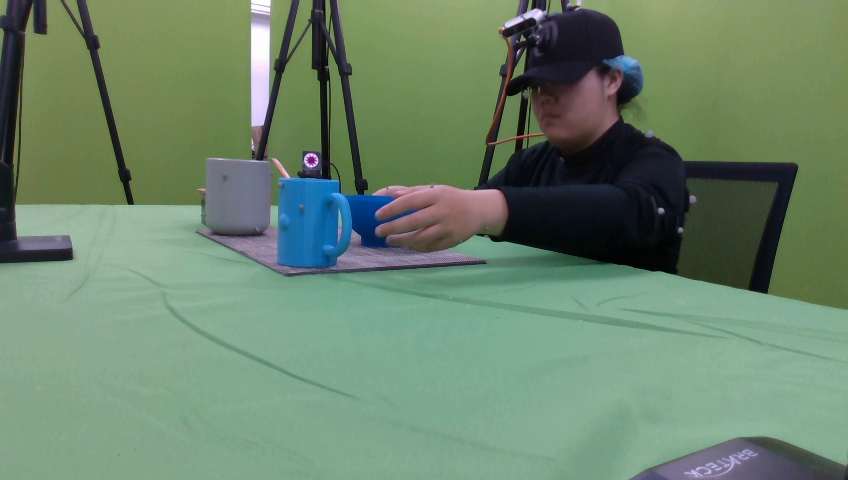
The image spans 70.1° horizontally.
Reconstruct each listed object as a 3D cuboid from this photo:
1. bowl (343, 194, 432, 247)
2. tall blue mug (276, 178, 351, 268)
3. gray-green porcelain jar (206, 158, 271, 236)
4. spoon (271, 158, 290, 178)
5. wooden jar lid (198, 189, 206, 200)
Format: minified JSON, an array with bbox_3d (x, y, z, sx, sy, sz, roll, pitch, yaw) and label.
[{"bbox_3d":[-0.065,-0.031,0.985,0.151,0.077,0.151,3,7,0],"label":"bowl"},{"bbox_3d":[-0.133,-0.022,0.767,0.107,0.108,0.078,4,7,12],"label":"tall blue mug"},{"bbox_3d":[-0.316,-0.074,1.031,0.106,0.126,0.106,3,7,0],"label":"gray-green porcelain jar"},{"bbox_3d":[-0.268,-0.103,1.236,0.042,0.193,0.021,-10,-32,-39],"label":"spoon"},{"bbox_3d":[-0.382,-0.088,1.175,0.108,0.020,0.108,3,8,0],"label":"wooden jar lid"}]
